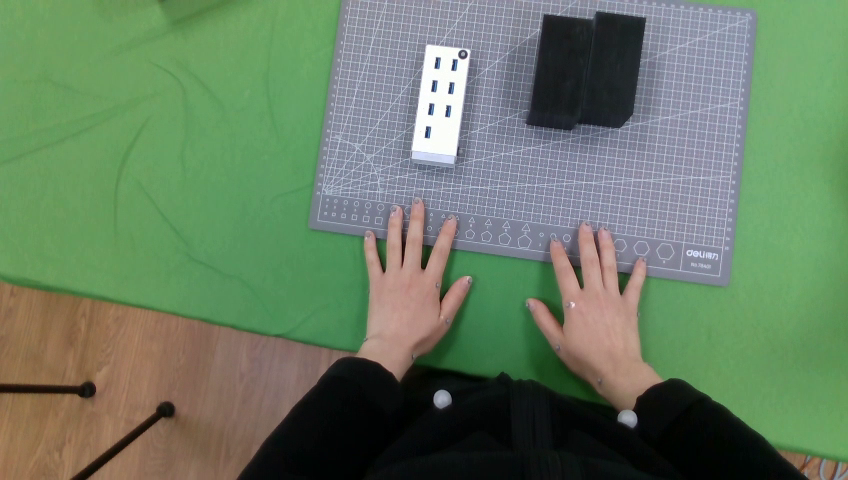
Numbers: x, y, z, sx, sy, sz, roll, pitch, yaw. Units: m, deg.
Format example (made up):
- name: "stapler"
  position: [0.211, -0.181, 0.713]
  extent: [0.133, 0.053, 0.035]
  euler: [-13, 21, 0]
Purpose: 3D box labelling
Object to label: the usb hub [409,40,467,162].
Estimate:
- name: "usb hub"
  position: [0.015, -0.148, 0.649]
  extent: [0.049, 0.025, 0.125]
  euler: [7, 87, 3]
